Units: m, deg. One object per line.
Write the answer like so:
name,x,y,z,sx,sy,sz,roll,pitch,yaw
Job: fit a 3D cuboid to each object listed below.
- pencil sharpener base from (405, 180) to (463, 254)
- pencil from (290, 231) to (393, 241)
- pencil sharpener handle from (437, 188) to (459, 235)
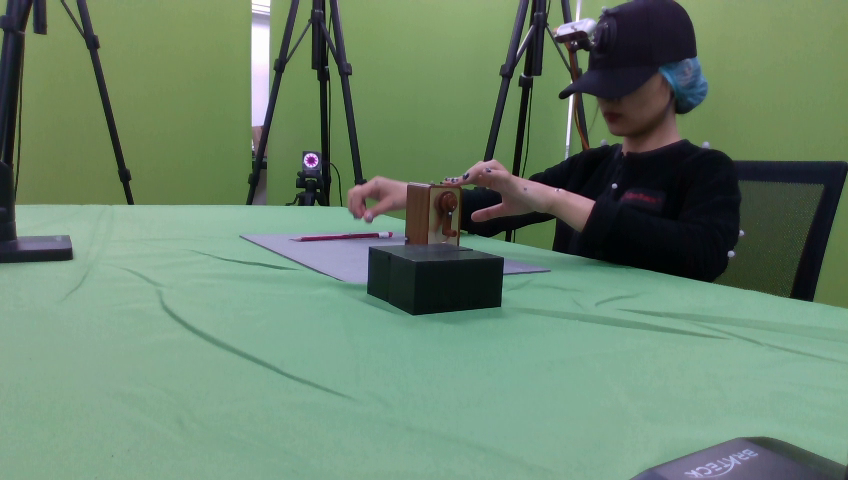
pencil sharpener base,0.016,-0.035,0.922,0.061,0.107,0.076,-1,9,-30
pencil,-0.137,-0.006,1.029,0.195,0.012,0.012,-4,9,-34
pencil sharpener handle,0.041,-0.041,0.876,0.036,0.067,0.030,1,7,-30
